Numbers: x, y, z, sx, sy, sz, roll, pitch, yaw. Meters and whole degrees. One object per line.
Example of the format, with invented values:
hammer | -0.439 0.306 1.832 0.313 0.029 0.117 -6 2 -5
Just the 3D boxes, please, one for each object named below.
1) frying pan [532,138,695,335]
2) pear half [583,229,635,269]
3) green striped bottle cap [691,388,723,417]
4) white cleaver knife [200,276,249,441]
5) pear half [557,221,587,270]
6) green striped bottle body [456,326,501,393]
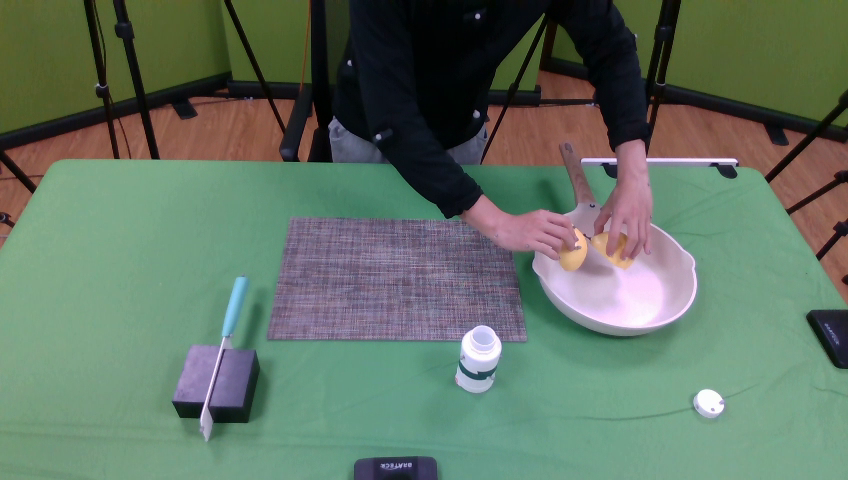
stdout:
frying pan | 0.336 -0.024 1.189 0.307 0.103 0.484 -2 55 -7
pear half | 0.347 0.002 1.132 0.110 0.056 0.076 28 17 -21
green striped bottle cap | 0.460 0.263 0.984 0.044 0.020 0.044 3 47 -3
white cleaver knife | -0.321 0.177 0.972 0.021 0.066 0.284 6 48 -4
pear half | 0.267 0.012 1.069 0.070 0.088 0.031 -20 24 -40
green striped bottle body | 0.086 0.185 0.959 0.063 0.120 0.063 2 46 -2
